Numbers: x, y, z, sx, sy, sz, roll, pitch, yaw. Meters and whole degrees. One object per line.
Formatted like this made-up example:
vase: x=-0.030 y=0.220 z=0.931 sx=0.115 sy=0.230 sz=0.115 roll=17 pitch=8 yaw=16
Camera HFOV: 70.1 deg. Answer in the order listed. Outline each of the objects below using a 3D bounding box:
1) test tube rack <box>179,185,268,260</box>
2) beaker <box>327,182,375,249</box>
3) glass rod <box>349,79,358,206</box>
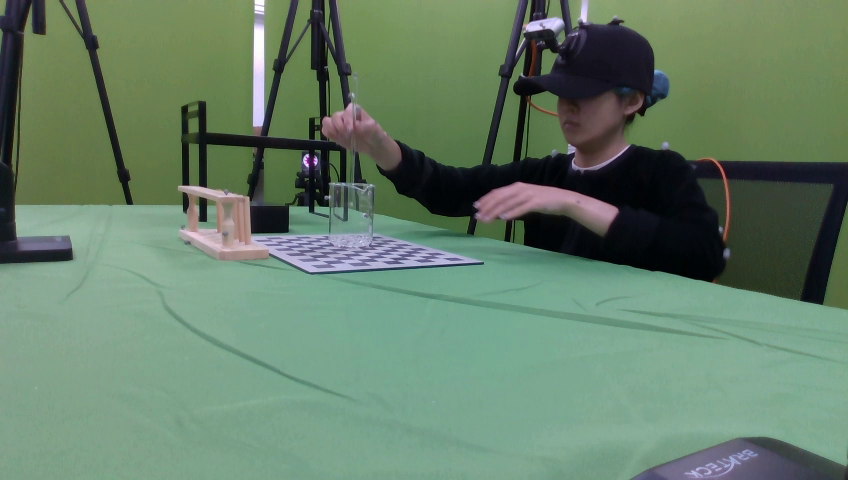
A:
test tube rack: x=-0.303 y=-0.031 z=0.898 sx=0.067 sy=0.085 sz=0.241 roll=-2 pitch=9 yaw=-33
beaker: x=-0.114 y=-0.039 z=0.950 sx=0.074 sy=0.100 sz=0.083 roll=-2 pitch=9 yaw=-31
glass rod: x=-0.112 y=-0.154 z=0.954 sx=0.008 sy=0.199 sz=0.008 roll=3 pitch=4 yaw=0
